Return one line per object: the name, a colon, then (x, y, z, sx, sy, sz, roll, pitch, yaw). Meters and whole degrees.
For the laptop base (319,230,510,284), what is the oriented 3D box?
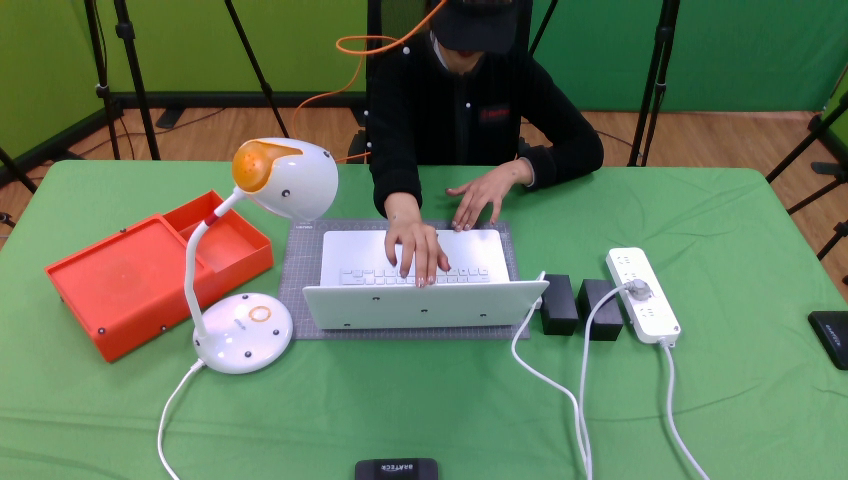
laptop base: (-0.017, 0.067, 1.133, 0.355, 0.023, 0.234, -1, 42, -5)

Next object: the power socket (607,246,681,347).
power socket: (0.403, 0.096, 1.123, 0.072, 0.033, 0.225, -3, 46, -5)

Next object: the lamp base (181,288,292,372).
lamp base: (-0.309, 0.108, 0.959, 0.160, 0.181, 0.179, 29, 55, 22)

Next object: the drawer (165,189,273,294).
drawer: (-0.419, 0.022, 1.108, 0.211, 0.073, 0.193, -35, 58, -31)

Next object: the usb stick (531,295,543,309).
usb stick: (0.181, 0.109, 1.089, 0.059, 0.027, 0.021, -1, 46, -5)

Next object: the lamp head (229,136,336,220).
lamp head: (-0.196, -0.085, 0.791, 0.112, 0.112, 0.123, 36, 15, 27)

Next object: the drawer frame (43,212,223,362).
drawer frame: (-0.497, 0.073, 1.049, 0.213, 0.083, 0.200, -34, 57, -31)

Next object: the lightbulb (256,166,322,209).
lightbulb: (-0.182, -0.073, 0.810, 0.059, 0.059, 0.108, 36, 13, 27)

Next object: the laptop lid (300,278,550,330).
laptop lid: (-0.002, 0.104, 0.943, 0.357, 0.242, 0.013, -1, 67, -6)

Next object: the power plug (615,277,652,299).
power plug: (0.375, 0.088, 1.097, 0.072, 0.053, 0.035, 5, 46, 2)

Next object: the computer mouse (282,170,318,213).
computer mouse: (-0.259, -0.106, 1.272, 0.063, 0.041, 0.116, 4, 49, -3)
